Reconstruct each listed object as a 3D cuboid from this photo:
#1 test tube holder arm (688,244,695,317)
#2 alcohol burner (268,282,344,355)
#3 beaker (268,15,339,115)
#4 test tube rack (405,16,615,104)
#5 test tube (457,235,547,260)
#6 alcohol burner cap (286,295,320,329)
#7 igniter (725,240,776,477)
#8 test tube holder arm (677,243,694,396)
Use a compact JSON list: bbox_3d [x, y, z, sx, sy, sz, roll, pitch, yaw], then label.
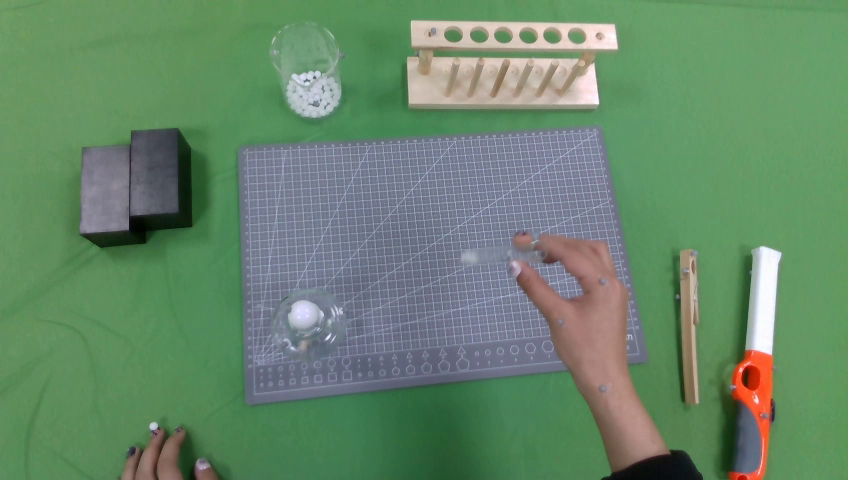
[{"bbox_3d":[0.314,0.049,0.721,0.010,0.015,0.087,16,72,-32],"label":"test tube holder arm"},{"bbox_3d":[-0.121,0.077,0.618,0.078,0.119,0.077,2,73,-6],"label":"alcohol burner"},{"bbox_3d":[-0.135,-0.195,0.701,0.074,0.100,0.083,-2,75,-6],"label":"beaker"},{"bbox_3d":[0.100,-0.217,0.738,0.243,0.085,0.066,-1,75,-6],"label":"test tube rack"},{"bbox_3d":[0.063,0.008,0.538,0.017,0.149,0.017,1,86,-20],"label":"test tube"},{"bbox_3d":[-0.118,0.069,0.583,0.034,0.048,0.033,1,79,-6],"label":"alcohol burner cap"},{"bbox_3d":[0.379,0.133,0.699,0.057,0.025,0.275,18,74,-11],"label":"igniter"},{"bbox_3d":[0.305,0.091,0.706,0.013,0.015,0.177,15,73,-33],"label":"test tube holder arm"}]
